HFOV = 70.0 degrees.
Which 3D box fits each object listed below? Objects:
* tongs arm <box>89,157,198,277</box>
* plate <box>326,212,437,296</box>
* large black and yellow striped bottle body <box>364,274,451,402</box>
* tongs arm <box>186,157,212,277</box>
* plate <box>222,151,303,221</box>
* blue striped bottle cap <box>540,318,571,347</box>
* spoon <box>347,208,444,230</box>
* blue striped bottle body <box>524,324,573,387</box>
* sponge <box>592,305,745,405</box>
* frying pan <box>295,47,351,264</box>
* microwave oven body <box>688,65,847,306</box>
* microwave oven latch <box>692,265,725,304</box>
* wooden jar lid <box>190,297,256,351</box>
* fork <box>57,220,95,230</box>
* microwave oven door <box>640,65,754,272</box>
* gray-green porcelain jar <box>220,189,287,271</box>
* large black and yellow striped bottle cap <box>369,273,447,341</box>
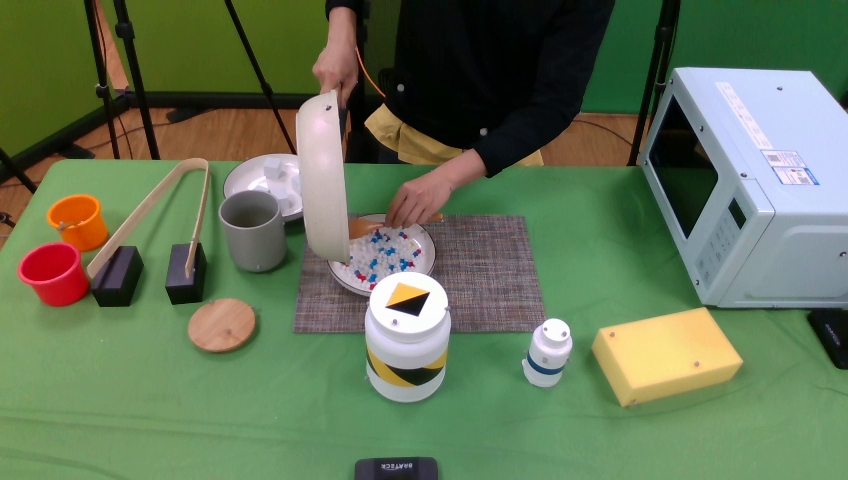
[{"bbox_3d":[-0.529,-0.058,1.163,0.028,0.028,0.385,1,36,7],"label":"tongs arm"},{"bbox_3d":[-0.080,0.030,1.143,0.209,0.038,0.208,2,46,-2],"label":"plate"},{"bbox_3d":[-0.026,0.151,0.937,0.131,0.185,0.130,2,47,-2],"label":"large black and yellow striped bottle body"},{"bbox_3d":[-0.445,-0.058,1.168,0.051,0.026,0.382,-4,37,-6],"label":"tongs arm"},{"bbox_3d":[-0.310,-0.106,1.263,0.208,0.039,0.206,2,47,-2],"label":"plate"},{"bbox_3d":[0.203,0.142,0.933,0.044,0.021,0.044,3,49,-3],"label":"blue striped bottle cap"},{"bbox_3d":[-0.058,-0.042,1.107,0.194,0.022,0.041,-3,67,-14],"label":"spoon"},{"bbox_3d":[0.200,0.178,0.970,0.063,0.121,0.062,2,46,-2],"label":"blue striped bottle body"},{"bbox_3d":[0.405,0.190,1.014,0.207,0.061,0.117,-10,48,-13],"label":"sponge"},{"bbox_3d":[-0.166,-0.184,1.074,0.103,0.308,0.484,2,52,-3],"label":"frying pan"},{"bbox_3d":[0.669,-0.111,1.176,0.326,0.261,0.439,0,46,-3],"label":"microwave oven body"},{"bbox_3d":[0.522,0.081,1.116,0.030,0.029,0.078,1,46,-2],"label":"microwave oven latch"},{"bbox_3d":[-0.342,0.145,1.033,0.108,0.021,0.107,2,45,-2],"label":"wooden jar lid"},{"bbox_3d":[-0.624,-0.027,1.087,0.028,0.207,0.018,-3,92,-17],"label":"fork"},{"bbox_3d":[0.523,-0.147,1.193,0.039,0.245,0.353,0,47,-3],"label":"microwave oven door"},{"bbox_3d":[-0.309,-0.014,1.113,0.106,0.127,0.105,2,46,-2],"label":"gray-green porcelain jar"},{"bbox_3d":[-0.023,0.094,0.875,0.115,0.019,0.114,2,45,-2],"label":"large black and yellow striped bottle cap"}]
